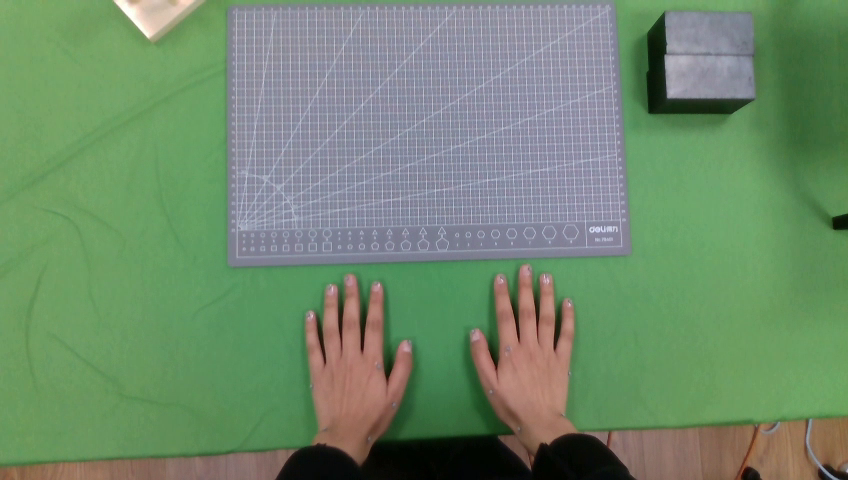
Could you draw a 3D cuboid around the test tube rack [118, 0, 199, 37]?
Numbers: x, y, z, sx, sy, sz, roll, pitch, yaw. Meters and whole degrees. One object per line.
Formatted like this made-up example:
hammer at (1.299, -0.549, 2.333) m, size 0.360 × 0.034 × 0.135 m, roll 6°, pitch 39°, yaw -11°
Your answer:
test tube rack at (-0.240, -0.339, 0.659) m, size 0.242 × 0.085 × 0.066 m, roll -42°, pitch 86°, yaw -6°
